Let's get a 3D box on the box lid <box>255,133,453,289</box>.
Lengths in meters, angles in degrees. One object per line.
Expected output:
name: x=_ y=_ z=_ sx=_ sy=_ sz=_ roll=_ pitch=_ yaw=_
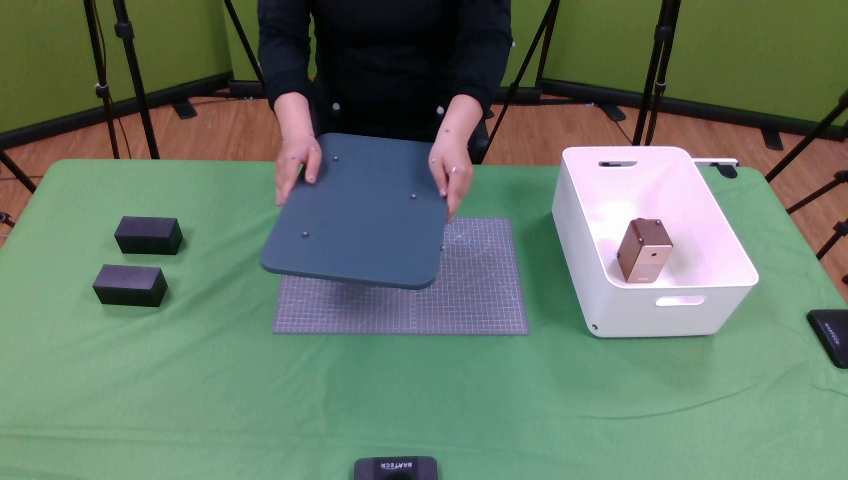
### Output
box lid: x=-0.097 y=-0.062 z=0.986 sx=0.263 sy=0.015 sz=0.369 roll=6 pitch=42 yaw=4

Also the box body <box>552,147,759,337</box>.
box body: x=0.401 y=-0.001 z=1.131 sx=0.254 sy=0.161 sz=0.361 roll=-1 pitch=46 yaw=-5

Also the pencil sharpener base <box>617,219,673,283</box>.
pencil sharpener base: x=0.412 y=0.020 z=1.140 sx=0.061 sy=0.107 sz=0.076 roll=-1 pitch=45 yaw=-4

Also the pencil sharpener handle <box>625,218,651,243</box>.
pencil sharpener handle: x=0.407 y=-0.025 z=1.167 sx=0.036 sy=0.068 sz=0.030 roll=5 pitch=44 yaw=-10
